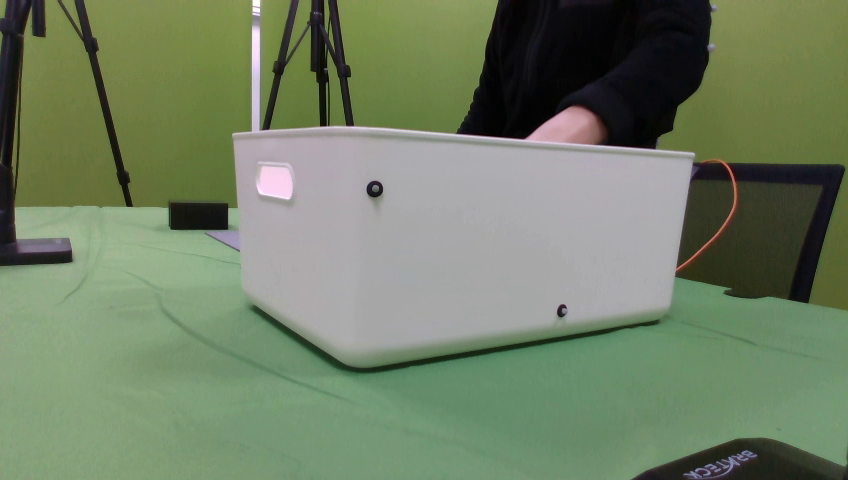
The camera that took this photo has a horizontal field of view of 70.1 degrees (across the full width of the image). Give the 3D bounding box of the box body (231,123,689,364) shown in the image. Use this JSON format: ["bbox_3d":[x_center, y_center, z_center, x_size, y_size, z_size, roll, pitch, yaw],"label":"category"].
[{"bbox_3d":[0.031,-0.013,0.563,0.366,0.160,0.253,-3,8,-33],"label":"box body"}]

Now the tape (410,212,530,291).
[{"bbox_3d":[0.042,0.008,0.577,0.117,0.052,0.117,5,12,-1],"label":"tape"}]

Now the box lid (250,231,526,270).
[{"bbox_3d":[-0.057,0.012,0.933,0.373,0.015,0.262,-2,8,-32],"label":"box lid"}]
